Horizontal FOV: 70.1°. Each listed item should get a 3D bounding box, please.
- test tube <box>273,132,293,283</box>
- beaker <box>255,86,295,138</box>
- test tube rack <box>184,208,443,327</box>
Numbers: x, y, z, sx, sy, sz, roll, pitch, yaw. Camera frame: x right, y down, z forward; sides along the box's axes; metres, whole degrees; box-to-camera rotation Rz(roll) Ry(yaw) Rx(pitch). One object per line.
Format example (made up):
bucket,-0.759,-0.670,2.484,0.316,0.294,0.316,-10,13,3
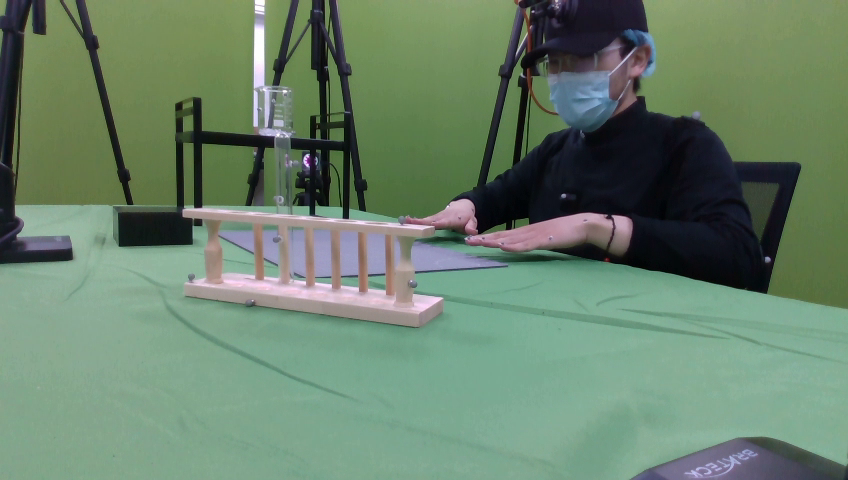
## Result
test tube,-0.139,-0.030,0.596,0.017,0.150,0.017,1,9,0
beaker,-0.309,-0.263,1.251,0.084,0.100,0.073,-4,9,-38
test tube rack,-0.106,0.019,0.570,0.241,0.085,0.067,5,8,19
